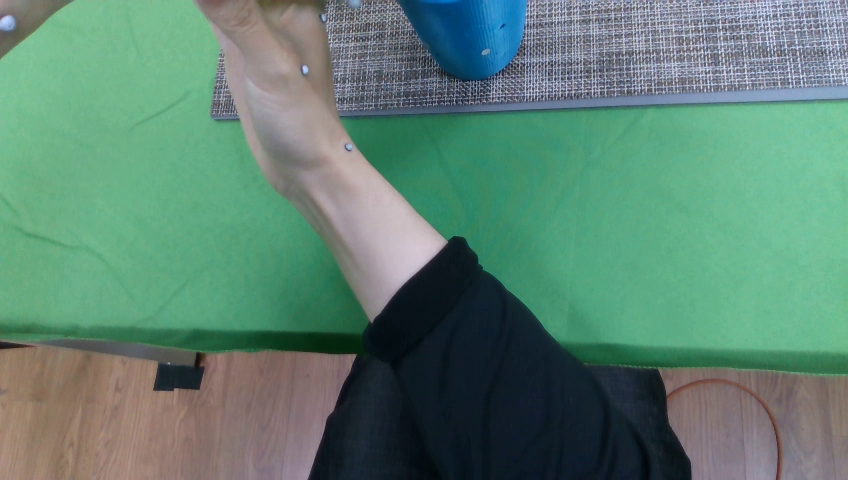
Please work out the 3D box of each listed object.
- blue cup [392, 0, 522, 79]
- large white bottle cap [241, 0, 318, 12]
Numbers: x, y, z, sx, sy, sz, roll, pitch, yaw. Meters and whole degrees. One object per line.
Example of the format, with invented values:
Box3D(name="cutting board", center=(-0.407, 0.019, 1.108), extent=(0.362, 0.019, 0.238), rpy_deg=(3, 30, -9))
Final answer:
Box3D(name="blue cup", center=(0.023, -0.152, 0.375), extent=(0.092, 0.101, 0.092), rpy_deg=(-3, 73, 12))
Box3D(name="large white bottle cap", center=(-0.106, -0.230, 0.465), extent=(0.114, 0.018, 0.114), rpy_deg=(-3, 75, 10))
